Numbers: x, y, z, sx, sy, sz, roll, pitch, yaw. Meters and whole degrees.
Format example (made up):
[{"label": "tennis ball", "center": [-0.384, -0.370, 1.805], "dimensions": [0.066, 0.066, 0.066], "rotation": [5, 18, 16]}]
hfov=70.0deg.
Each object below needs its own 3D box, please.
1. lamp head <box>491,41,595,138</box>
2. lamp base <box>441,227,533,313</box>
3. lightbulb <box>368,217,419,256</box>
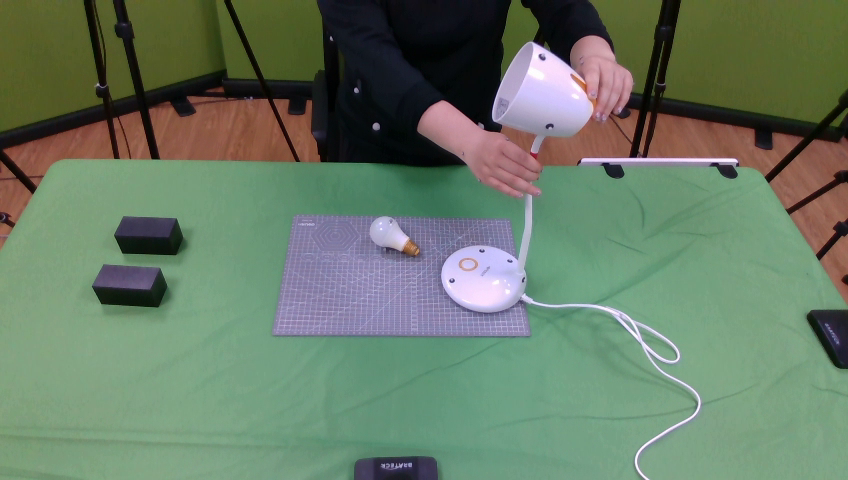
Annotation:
[{"label": "lamp head", "center": [0.163, -0.188, 0.815], "dimensions": [0.123, 0.112, 0.112], "rotation": [26, 43, -16]}, {"label": "lamp base", "center": [0.126, 0.021, 1.072], "dimensions": [0.179, 0.181, 0.160], "rotation": [23, 49, 14]}, {"label": "lightbulb", "center": [-0.058, -0.002, 1.173], "dimensions": [0.107, 0.060, 0.059], "rotation": [32, 50, 4]}]
